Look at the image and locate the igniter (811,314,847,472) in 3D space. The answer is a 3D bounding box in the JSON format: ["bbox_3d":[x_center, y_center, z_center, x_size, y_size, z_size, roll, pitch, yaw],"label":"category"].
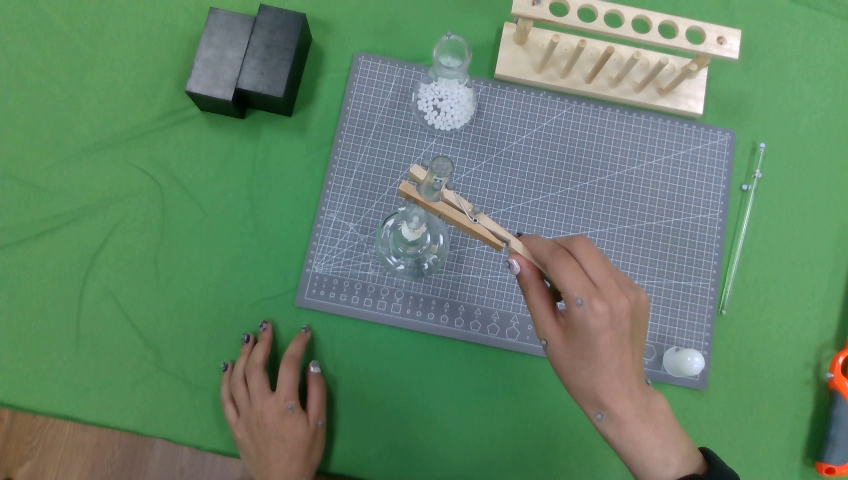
[{"bbox_3d":[0.467,0.117,0.656,0.057,0.025,0.275,21,79,-9],"label":"igniter"}]

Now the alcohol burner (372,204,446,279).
[{"bbox_3d":[-0.015,-0.002,0.608,0.078,0.119,0.077,0,78,-1],"label":"alcohol burner"}]

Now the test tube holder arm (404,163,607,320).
[{"bbox_3d":[0.059,0.002,0.440,0.178,0.015,0.013,36,79,0],"label":"test tube holder arm"}]

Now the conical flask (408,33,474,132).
[{"bbox_3d":[0.021,-0.167,0.634,0.075,0.122,0.075,0,79,-2],"label":"conical flask"}]

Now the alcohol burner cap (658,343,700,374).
[{"bbox_3d":[0.270,0.124,0.635,0.034,0.048,0.033,1,79,-2],"label":"alcohol burner cap"}]

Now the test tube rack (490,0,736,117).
[{"bbox_3d":[0.203,-0.206,0.672,0.242,0.085,0.066,11,79,-1],"label":"test tube rack"}]

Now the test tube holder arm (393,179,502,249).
[{"bbox_3d":[0.018,-0.018,0.439,0.088,0.015,0.010,28,78,-1],"label":"test tube holder arm"}]

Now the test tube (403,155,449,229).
[{"bbox_3d":[-0.001,-0.032,0.453,0.017,0.150,0.017,2,78,-8],"label":"test tube"}]

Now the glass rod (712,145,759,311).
[{"bbox_3d":[0.352,-0.015,0.684,0.008,0.008,0.199,18,82,1],"label":"glass rod"}]
